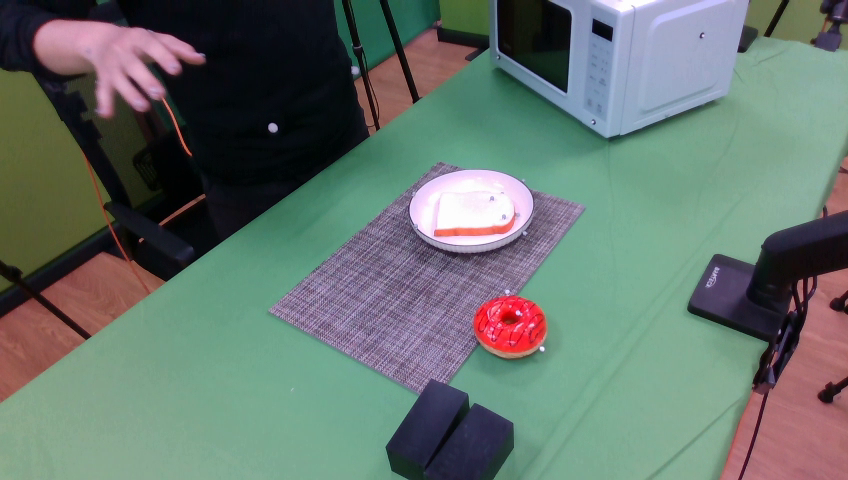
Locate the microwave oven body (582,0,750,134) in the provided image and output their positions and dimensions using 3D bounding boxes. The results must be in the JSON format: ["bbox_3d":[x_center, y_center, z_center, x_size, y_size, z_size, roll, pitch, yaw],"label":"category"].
[{"bbox_3d":[0.382,-0.444,1.246,0.327,0.261,0.437,-22,42,-16],"label":"microwave oven body"}]

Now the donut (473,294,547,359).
[{"bbox_3d":[0.114,0.114,0.803,0.099,0.048,0.098,-1,40,1],"label":"donut"}]

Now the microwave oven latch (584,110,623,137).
[{"bbox_3d":[0.337,-0.222,1.142,0.030,0.029,0.078,-21,42,-14],"label":"microwave oven latch"}]

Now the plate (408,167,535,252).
[{"bbox_3d":[0.078,-0.047,0.996,0.207,0.039,0.206,-4,41,4],"label":"plate"}]

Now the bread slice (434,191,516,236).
[{"bbox_3d":[0.086,-0.046,0.996,0.131,0.019,0.104,-1,42,7],"label":"bread slice"}]

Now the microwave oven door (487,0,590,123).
[{"bbox_3d":[0.232,-0.420,1.231,0.039,0.245,0.352,-22,43,-16],"label":"microwave oven door"}]
